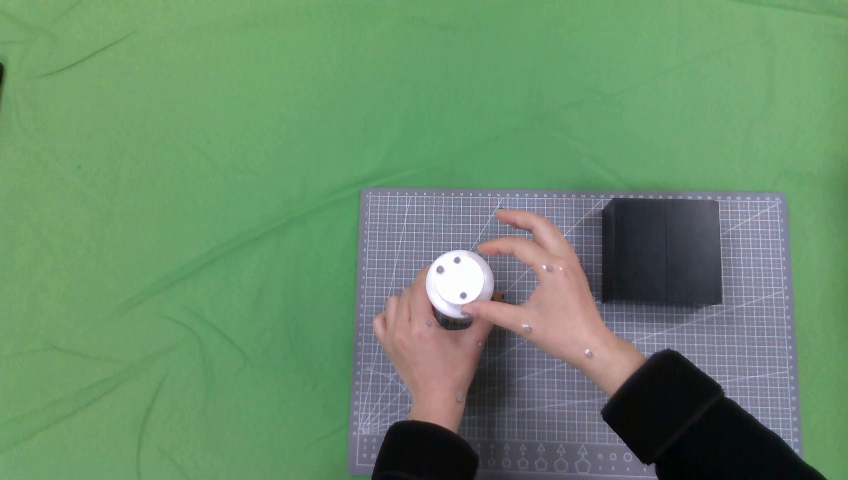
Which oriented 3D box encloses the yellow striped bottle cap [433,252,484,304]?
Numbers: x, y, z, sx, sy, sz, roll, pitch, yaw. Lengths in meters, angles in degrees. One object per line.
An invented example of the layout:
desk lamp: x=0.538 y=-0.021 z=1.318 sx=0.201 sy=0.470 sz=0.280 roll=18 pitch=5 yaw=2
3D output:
yellow striped bottle cap: x=0.030 y=0.033 z=0.526 sx=0.044 sy=0.019 sz=0.044 roll=-1 pitch=80 yaw=6

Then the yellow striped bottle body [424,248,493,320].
yellow striped bottle body: x=0.033 y=0.043 z=0.579 sx=0.063 sy=0.120 sz=0.062 roll=0 pitch=80 yaw=3
